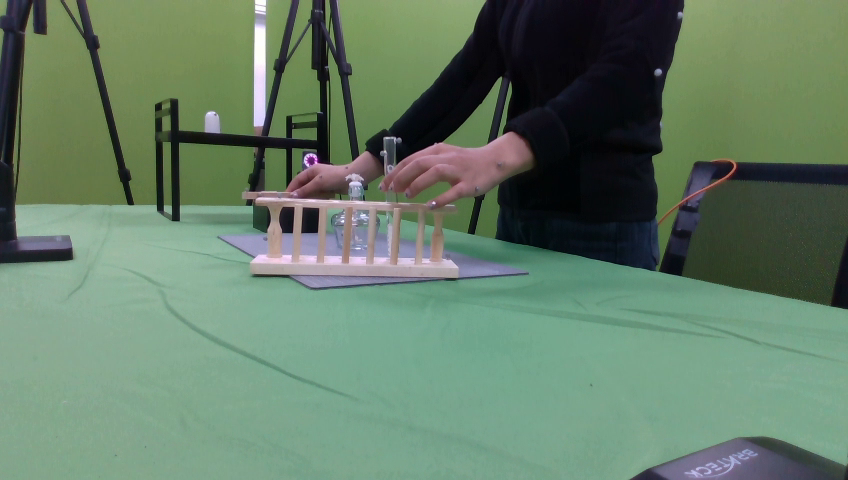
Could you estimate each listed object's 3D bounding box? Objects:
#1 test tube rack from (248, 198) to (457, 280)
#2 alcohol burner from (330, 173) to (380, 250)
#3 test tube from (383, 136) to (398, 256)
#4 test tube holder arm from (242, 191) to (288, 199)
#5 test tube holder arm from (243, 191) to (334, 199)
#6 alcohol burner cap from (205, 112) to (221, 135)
[{"bbox_3d":[-0.082,-0.003,0.732,0.243,0.085,0.066,2,8,-7],"label":"test tube rack"},{"bbox_3d":[-0.108,-0.044,0.938,0.078,0.119,0.078,1,6,0],"label":"alcohol burner"},{"bbox_3d":[-0.041,-0.053,0.748,0.017,0.150,0.017,-1,7,0],"label":"test tube"},{"bbox_3d":[-0.299,-0.085,1.140,0.088,0.015,0.010,-3,9,-30],"label":"test tube holder arm"},{"bbox_3d":[-0.257,-0.087,1.159,0.179,0.015,0.013,-3,9,-31],"label":"test tube holder arm"},{"bbox_3d":[-0.443,-0.245,1.270,0.034,0.048,0.034,3,8,0],"label":"alcohol burner cap"}]
